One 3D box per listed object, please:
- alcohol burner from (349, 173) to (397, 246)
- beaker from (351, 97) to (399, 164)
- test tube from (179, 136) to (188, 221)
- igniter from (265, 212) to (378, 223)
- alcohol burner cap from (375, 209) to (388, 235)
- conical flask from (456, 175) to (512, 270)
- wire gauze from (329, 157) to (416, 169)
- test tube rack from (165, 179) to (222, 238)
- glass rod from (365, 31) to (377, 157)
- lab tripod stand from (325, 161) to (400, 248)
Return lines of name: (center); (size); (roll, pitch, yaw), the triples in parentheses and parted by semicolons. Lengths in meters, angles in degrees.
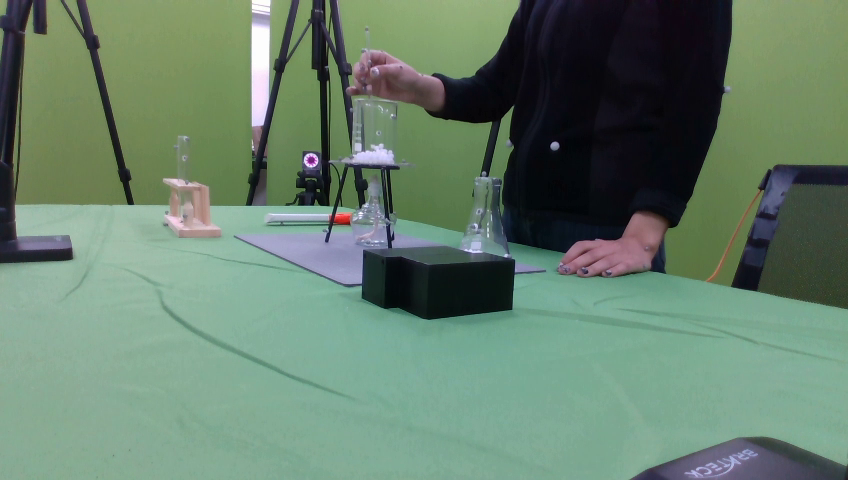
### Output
alcohol burner: (-0.081, -0.050, 0.982); (0.078, 0.119, 0.078); (4, 8, 0)
beaker: (-0.078, -0.171, 0.962); (0.074, 0.100, 0.084); (6, 8, 19)
test tube: (-0.425, -0.108, 1.070); (0.017, 0.150, 0.017); (4, 9, 0)
igniter: (-0.195, -0.048, 1.285); (0.278, 0.025, 0.057); (-2, -2, -30)
alcohol burner cap: (-0.076, -0.035, 1.144); (0.034, 0.048, 0.034); (1, 7, 0)
conical flask: (0.082, -0.025, 0.801); (0.075, 0.122, 0.075); (2, 7, 0)
wire gauze: (-0.079, -0.125, 0.972); (0.121, 0.011, 0.125); (6, 6, 5)
test tube rack: (-0.423, -0.062, 1.098); (0.067, 0.085, 0.241); (-2, 9, -28)
glass rod: (-0.086, -0.234, 0.972); (0.008, 0.199, 0.008); (-4, 7, 1)
lab tripod stand: (-0.083, -0.059, 0.977); (0.148, 0.131, 0.148); (4, 8, 0)
